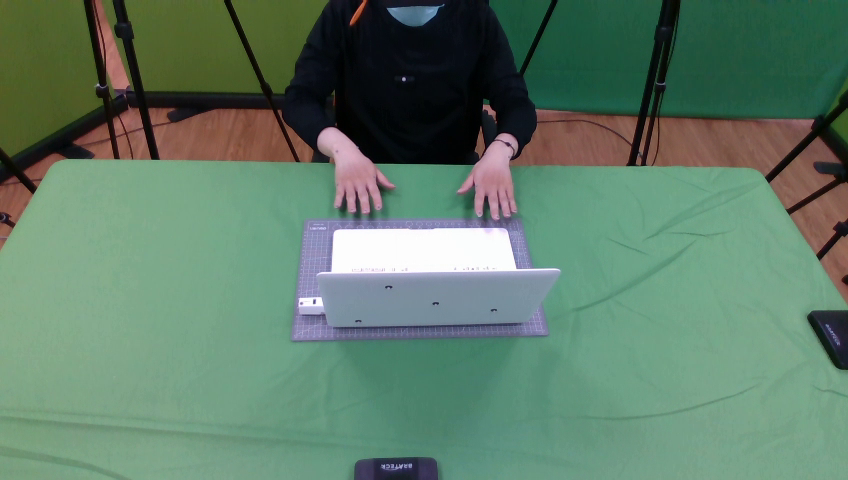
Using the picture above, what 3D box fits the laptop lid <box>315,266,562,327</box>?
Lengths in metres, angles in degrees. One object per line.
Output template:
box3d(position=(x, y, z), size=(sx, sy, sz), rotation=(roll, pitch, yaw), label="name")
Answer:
box3d(position=(0.018, 0.094, 0.949), size=(0.357, 0.242, 0.013), rotation=(0, 64, -6), label="laptop lid")

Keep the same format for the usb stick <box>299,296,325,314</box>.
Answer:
box3d(position=(-0.187, 0.114, 1.057), size=(0.059, 0.027, 0.021), rotation=(2, 45, -5), label="usb stick")

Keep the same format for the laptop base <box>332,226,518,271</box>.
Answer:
box3d(position=(0.004, 0.062, 1.136), size=(0.355, 0.023, 0.234), rotation=(-1, 43, -4), label="laptop base")
